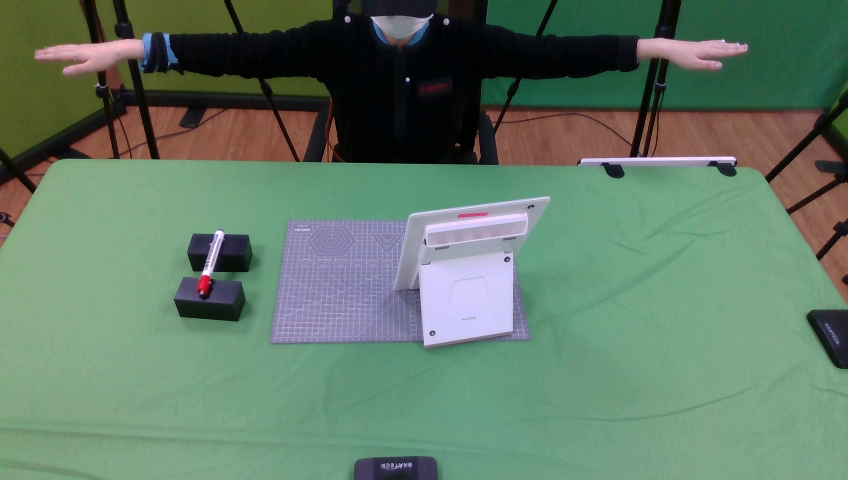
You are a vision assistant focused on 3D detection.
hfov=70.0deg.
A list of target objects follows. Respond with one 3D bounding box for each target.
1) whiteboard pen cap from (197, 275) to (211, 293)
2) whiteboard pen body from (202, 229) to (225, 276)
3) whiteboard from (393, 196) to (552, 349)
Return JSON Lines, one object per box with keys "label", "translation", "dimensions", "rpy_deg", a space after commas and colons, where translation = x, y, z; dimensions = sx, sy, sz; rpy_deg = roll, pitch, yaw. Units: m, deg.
{"label": "whiteboard pen cap", "translation": [-0.373, 0.074, 1.031], "dimensions": [0.017, 0.017, 0.032], "rpy_deg": [2, 44, -2]}
{"label": "whiteboard pen body", "translation": [-0.374, 0.032, 1.071], "dimensions": [0.017, 0.017, 0.139], "rpy_deg": [2, 45, -2]}
{"label": "whiteboard", "translation": [0.077, 0.071, 0.977], "dimensions": [0.217, 0.306, 0.143], "rpy_deg": [-7, 66, -11]}
